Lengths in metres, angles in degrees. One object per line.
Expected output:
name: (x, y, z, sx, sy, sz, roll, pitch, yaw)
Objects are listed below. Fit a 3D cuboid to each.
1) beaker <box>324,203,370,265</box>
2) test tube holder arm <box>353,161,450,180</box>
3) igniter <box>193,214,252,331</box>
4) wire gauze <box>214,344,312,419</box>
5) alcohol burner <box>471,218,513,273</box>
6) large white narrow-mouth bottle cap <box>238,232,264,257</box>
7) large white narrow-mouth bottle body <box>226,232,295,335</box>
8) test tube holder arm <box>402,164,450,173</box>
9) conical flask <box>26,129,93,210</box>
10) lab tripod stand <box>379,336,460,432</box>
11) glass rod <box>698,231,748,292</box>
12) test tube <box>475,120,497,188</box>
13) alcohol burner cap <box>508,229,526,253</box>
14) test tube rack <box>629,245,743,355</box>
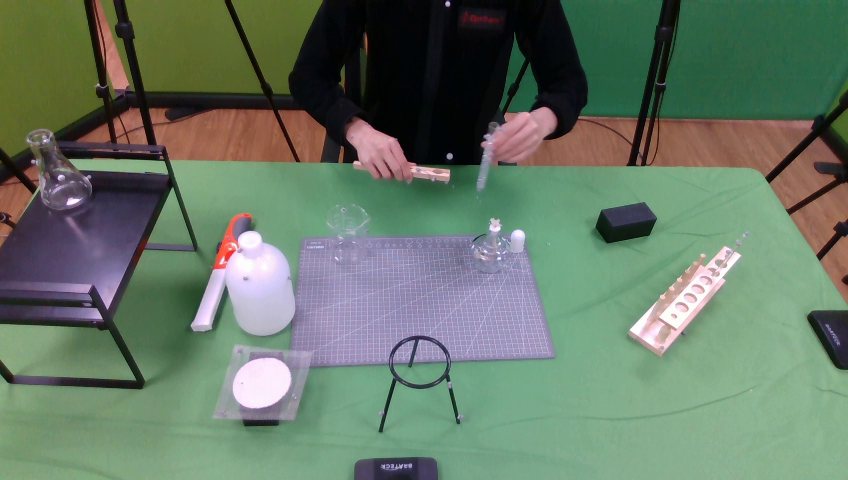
beaker: (-0.142, -0.009, 1.137, 0.084, 0.101, 0.073, -3, 47, -7)
test tube holder arm: (-0.042, -0.125, 1.087, 0.178, 0.015, 0.013, 7, 48, 10)
igniter: (-0.368, 0.050, 1.119, 0.057, 0.025, 0.275, -3, 46, 8)
wire gauze: (-0.241, 0.213, 0.915, 0.121, 0.011, 0.124, 5, 46, 1)
alcohol burner: (0.128, 0.005, 1.132, 0.078, 0.120, 0.077, 0, 47, 0)
large white narrow-mouth bottle cap: (-0.266, 0.007, 0.933, 0.038, 0.024, 0.037, 2, 46, -2)
large white narrow-mouth bottle body: (-0.270, 0.065, 0.995, 0.102, 0.195, 0.101, 2, 46, -2)
test tube holder arm: (0.004, -0.124, 1.083, 0.088, 0.015, 0.010, 6, 48, 9)
conical flask: (-0.575, -0.113, 0.946, 0.075, 0.122, 0.075, 2, 46, -2)
lab tripod stand: (-0.011, 0.214, 0.911, 0.148, 0.132, 0.147, 1, 45, 0)
glass rod: (0.514, 0.044, 1.051, 0.008, 0.200, 0.008, 1, 55, -1)
test tube: (0.104, -0.141, 1.019, 0.017, 0.151, 0.017, 3, 52, -3)
alcohol burner cap: (0.185, -0.002, 1.192, 0.034, 0.048, 0.033, 3, 45, -3)
test tube rack: (0.474, 0.095, 1.091, 0.242, 0.085, 0.066, -34, 56, -31)
